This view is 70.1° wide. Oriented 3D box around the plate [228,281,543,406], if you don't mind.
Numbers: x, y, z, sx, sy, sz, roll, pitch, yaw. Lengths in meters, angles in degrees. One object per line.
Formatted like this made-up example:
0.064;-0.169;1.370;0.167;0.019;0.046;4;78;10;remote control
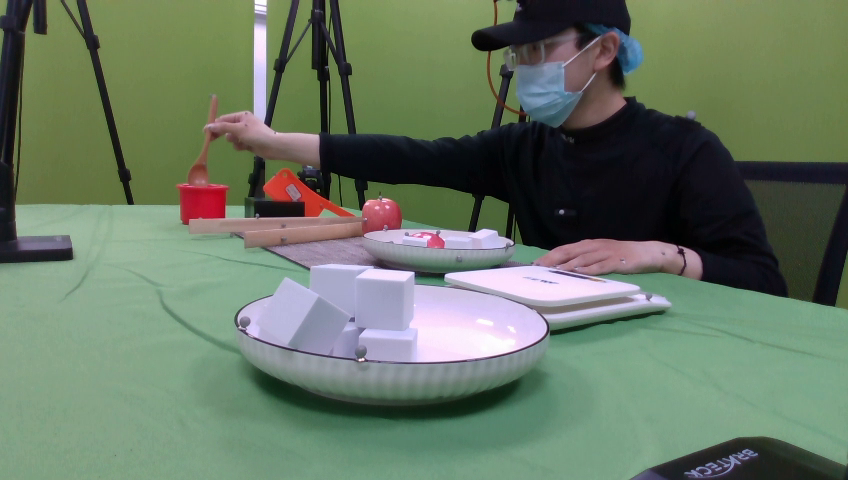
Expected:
-0.025;0.067;0.413;0.208;0.039;0.207;3;8;0;plate

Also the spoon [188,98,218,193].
-0.427;-0.187;1.188;0.042;0.193;0.021;15;-6;-36;spoon

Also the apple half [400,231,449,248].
0.003;0.005;0.843;0.081;0.033;0.081;1;4;0;apple half

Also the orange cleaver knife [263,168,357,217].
-0.240;-0.077;1.294;0.212;0.077;0.012;32;-7;-26;orange cleaver knife

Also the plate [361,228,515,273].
0.018;0.013;0.818;0.209;0.038;0.209;2;7;0;plate

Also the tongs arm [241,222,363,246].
-0.159;-0.017;1.033;0.028;0.028;0.389;2;5;33;tongs arm

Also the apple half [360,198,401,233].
-0.066;-0.032;1.014;0.053;0.074;0.081;9;6;20;apple half

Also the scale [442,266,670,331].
0.131;0.052;0.603;0.202;0.031;0.148;-2;9;-37;scale

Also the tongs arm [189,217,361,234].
-0.220;-0.028;1.088;0.387;0.026;0.050;-3;8;-43;tongs arm
